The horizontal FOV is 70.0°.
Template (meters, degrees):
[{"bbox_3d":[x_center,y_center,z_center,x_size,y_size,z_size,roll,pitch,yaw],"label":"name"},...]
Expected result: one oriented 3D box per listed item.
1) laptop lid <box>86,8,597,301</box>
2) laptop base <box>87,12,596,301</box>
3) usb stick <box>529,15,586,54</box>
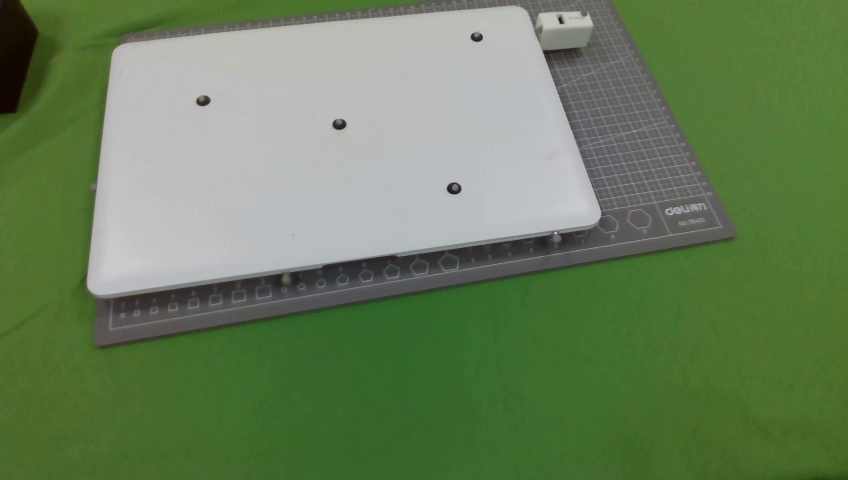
[{"bbox_3d":[-0.067,-0.084,0.464,0.357,0.013,0.239,-7,61,-6],"label":"laptop lid"},{"bbox_3d":[-0.067,-0.080,0.475,0.355,0.023,0.233,-8,62,-7],"label":"laptop base"},{"bbox_3d":[0.109,-0.179,0.529,0.059,0.027,0.021,-7,60,-4],"label":"usb stick"}]
